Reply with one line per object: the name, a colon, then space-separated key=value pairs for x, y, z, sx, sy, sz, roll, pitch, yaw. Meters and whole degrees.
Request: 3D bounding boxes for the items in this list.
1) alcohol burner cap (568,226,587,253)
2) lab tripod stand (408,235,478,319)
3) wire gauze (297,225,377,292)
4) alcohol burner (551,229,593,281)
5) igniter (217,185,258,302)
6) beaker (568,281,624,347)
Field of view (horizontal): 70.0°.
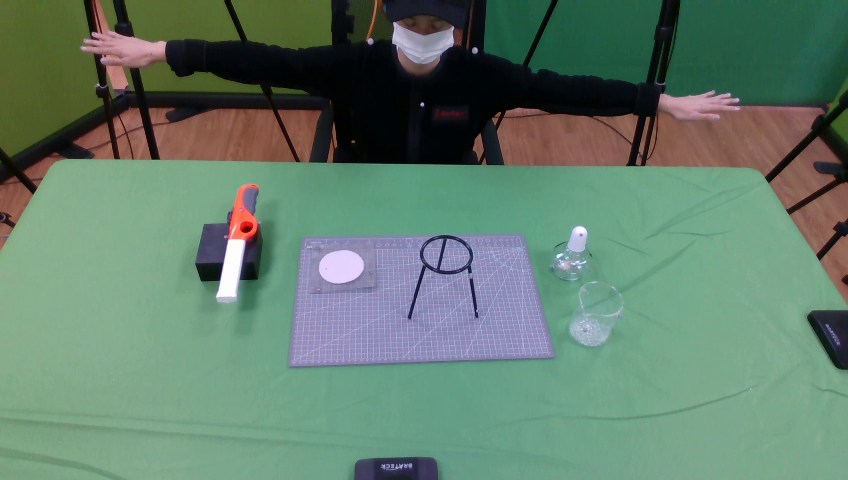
alcohol burner cap: x=0.284 y=-0.003 z=1.112 sx=0.034 sy=0.048 sz=0.033 roll=1 pitch=42 yaw=-1
lab tripod stand: x=0.032 y=0.065 z=1.057 sx=0.148 sy=0.132 sz=0.147 roll=1 pitch=45 yaw=-1
wire gauze: x=-0.165 y=0.034 z=1.137 sx=0.125 sy=0.011 sz=0.120 roll=-21 pitch=53 yaw=-15
alcohol burner: x=0.281 y=0.021 z=1.137 sx=0.078 sy=0.120 sz=0.077 roll=1 pitch=48 yaw=-1
igniter: x=-0.339 y=-0.004 z=1.106 sx=0.057 sy=0.025 sz=0.274 roll=1 pitch=49 yaw=-6
beaker: x=0.290 y=0.132 z=1.041 sx=0.084 sy=0.101 sz=0.073 roll=-34 pitch=57 yaw=-31
